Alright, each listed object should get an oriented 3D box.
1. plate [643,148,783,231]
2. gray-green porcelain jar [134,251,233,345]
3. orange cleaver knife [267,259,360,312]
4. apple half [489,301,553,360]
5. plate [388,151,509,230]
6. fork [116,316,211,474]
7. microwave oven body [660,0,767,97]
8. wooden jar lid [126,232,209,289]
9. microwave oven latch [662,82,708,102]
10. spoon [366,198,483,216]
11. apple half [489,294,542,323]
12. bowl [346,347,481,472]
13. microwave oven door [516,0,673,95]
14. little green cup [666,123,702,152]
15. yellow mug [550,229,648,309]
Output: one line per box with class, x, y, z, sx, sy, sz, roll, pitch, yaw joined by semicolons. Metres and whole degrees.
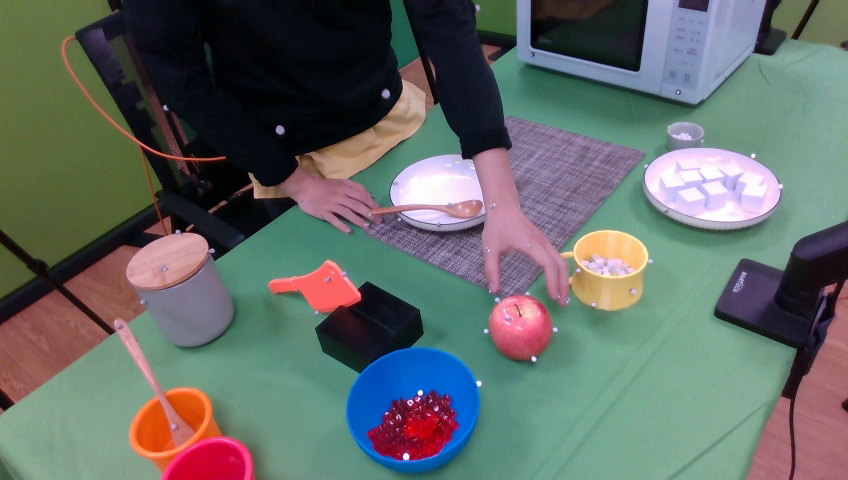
plate;0.464;-0.079;0.986;0.207;0.039;0.206;-4;40;4
gray-green porcelain jar;-0.334;0.076;0.849;0.106;0.127;0.105;-4;41;4
orange cleaver knife;-0.161;0.070;0.859;0.210;0.077;0.012;-13;22;49
apple half;0.127;0.123;0.772;0.081;0.075;0.053;-8;44;-6
plate;0.043;-0.082;1.042;0.209;0.038;0.208;-4;40;4
fork;-0.308;0.179;0.708;0.028;0.018;0.207;-30;89;-14
microwave oven body;0.473;-0.517;1.314;0.438;0.261;0.327;26;51;34
wooden jar lid;-0.340;0.030;0.808;0.108;0.021;0.108;-5;39;5
microwave oven latch;0.517;-0.298;1.203;0.078;0.029;0.030;28;52;35
spoon;0.002;-0.055;0.995;0.194;0.022;0.041;-1;45;-10
apple half;0.121;0.098;0.800;0.081;0.081;0.032;-10;42;-3
bowl;-0.008;0.205;0.691;0.151;0.077;0.150;-4;40;4
microwave oven door;0.344;-0.458;1.256;0.353;0.245;0.039;26;51;33
little green cup;0.472;-0.183;1.102;0.061;0.039;0.061;-5;41;5
yellow mug;0.245;0.040;0.857;0.130;0.064;0.099;1;42;11
